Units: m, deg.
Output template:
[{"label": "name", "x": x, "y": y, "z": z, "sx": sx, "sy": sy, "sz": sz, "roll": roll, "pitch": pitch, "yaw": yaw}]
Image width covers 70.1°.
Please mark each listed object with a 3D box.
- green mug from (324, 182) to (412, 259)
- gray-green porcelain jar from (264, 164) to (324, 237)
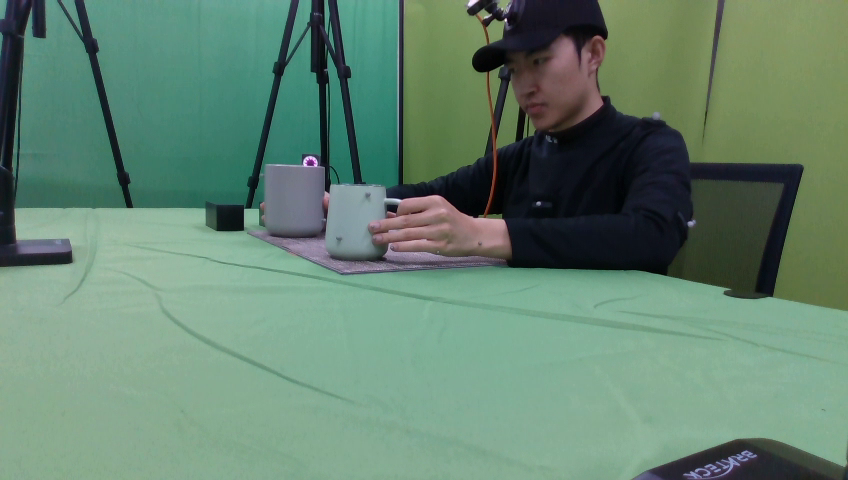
[{"label": "green mug", "x": -0.079, "y": -0.028, "z": 0.864, "sx": 0.125, "sy": 0.105, "sz": 0.092, "roll": 3, "pitch": 7, "yaw": 9}, {"label": "gray-green porcelain jar", "x": -0.233, "y": -0.073, "z": 1.087, "sx": 0.106, "sy": 0.126, "sz": 0.106, "roll": 2, "pitch": 7, "yaw": 0}]
